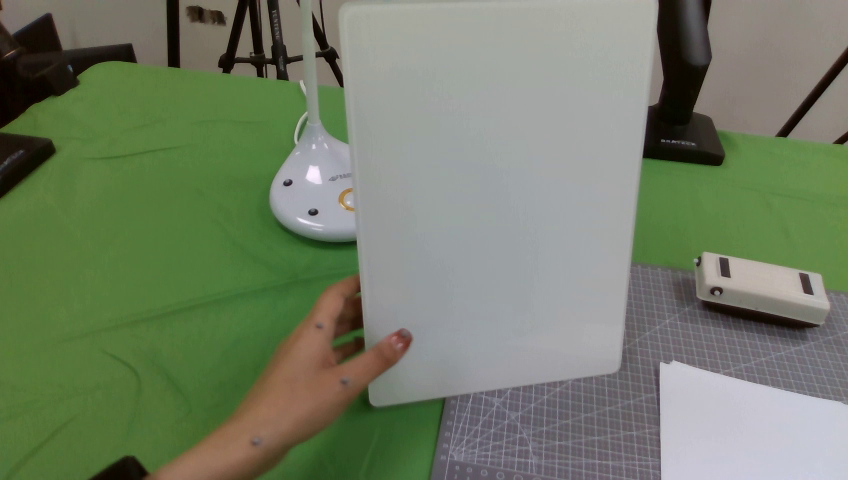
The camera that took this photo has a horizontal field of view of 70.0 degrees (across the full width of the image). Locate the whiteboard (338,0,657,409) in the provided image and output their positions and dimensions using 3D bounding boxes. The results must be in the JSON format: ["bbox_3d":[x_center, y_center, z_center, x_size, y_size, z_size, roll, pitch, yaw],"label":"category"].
[{"bbox_3d":[0.047,-0.041,0.507,0.217,0.307,0.142,-5,22,-8],"label":"whiteboard"}]

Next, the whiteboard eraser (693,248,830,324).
[{"bbox_3d":[0.318,0.045,0.578,0.112,0.042,0.055,13,43,11],"label":"whiteboard eraser"}]

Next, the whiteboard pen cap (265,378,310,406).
[{"bbox_3d":[-0.109,0.122,0.485,0.033,0.018,0.018,10,41,9],"label":"whiteboard pen cap"}]

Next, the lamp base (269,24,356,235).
[{"bbox_3d":[-0.099,-0.124,0.645,0.161,0.182,0.177,-26,46,-29],"label":"lamp base"}]
